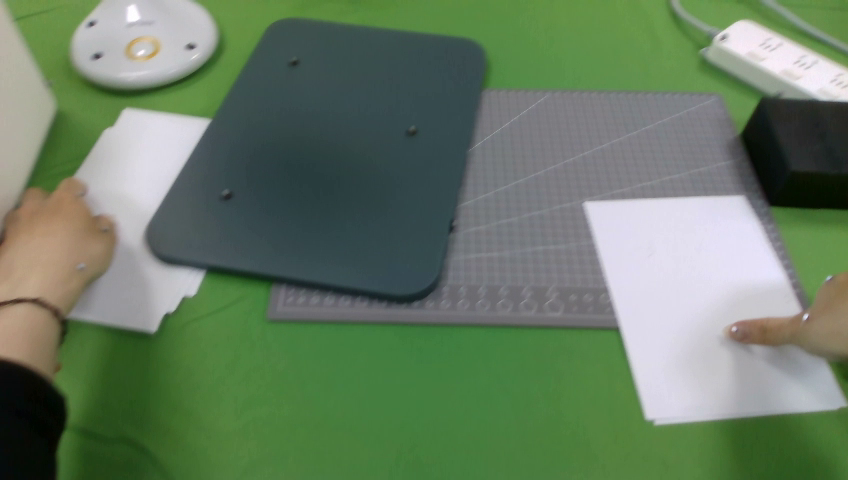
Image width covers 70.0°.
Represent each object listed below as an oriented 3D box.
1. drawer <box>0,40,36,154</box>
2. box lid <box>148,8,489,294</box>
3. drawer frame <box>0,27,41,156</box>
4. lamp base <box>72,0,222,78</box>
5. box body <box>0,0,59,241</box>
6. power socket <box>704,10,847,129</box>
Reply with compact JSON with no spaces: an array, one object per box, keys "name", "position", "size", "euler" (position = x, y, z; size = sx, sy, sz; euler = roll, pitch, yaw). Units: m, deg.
[{"name":"drawer","position":[-0.468,-0.104,0.500],"size":[0.195,0.074,0.209],"euler":[6,44,-13]},{"name":"box lid","position":[-0.085,-0.115,0.612],"size":[0.263,0.015,0.368],"euler":[9,54,6]},{"name":"drawer frame","position":[-0.470,-0.107,0.501],"size":[0.202,0.083,0.211],"euler":[6,44,-13]},{"name":"lamp base","position":[-0.317,-0.293,0.633],"size":[0.161,0.182,0.177],"euler":[-19,54,-14]},{"name":"box body","position":[-0.483,-0.059,0.471],"size":[0.254,0.162,0.360],"euler":[-2,54,-3]},{"name":"power socket","position":[0.419,-0.184,0.659],"size":[0.072,0.033,0.224],"euler":[-35,61,-24]}]
